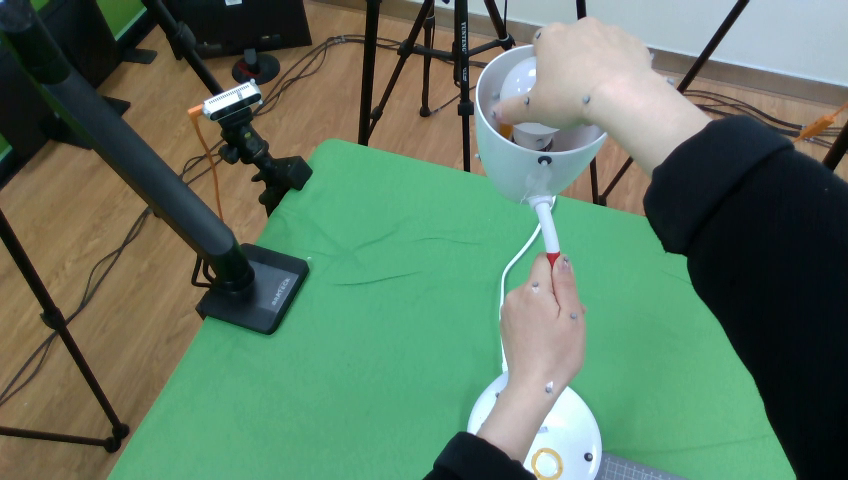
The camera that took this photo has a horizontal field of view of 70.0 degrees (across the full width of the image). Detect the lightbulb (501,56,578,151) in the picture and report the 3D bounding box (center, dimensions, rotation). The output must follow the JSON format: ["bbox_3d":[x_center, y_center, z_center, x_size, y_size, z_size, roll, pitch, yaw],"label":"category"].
[{"bbox_3d":[0.091,-0.100,0.493,0.059,0.108,0.059,-1,62,3],"label":"lightbulb"}]

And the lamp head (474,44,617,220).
[{"bbox_3d":[0.095,-0.081,0.516,0.112,0.124,0.111,0,57,0],"label":"lamp head"}]

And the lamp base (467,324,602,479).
[{"bbox_3d":[0.124,0.183,0.669,0.161,0.182,0.177,-21,55,-12],"label":"lamp base"}]
